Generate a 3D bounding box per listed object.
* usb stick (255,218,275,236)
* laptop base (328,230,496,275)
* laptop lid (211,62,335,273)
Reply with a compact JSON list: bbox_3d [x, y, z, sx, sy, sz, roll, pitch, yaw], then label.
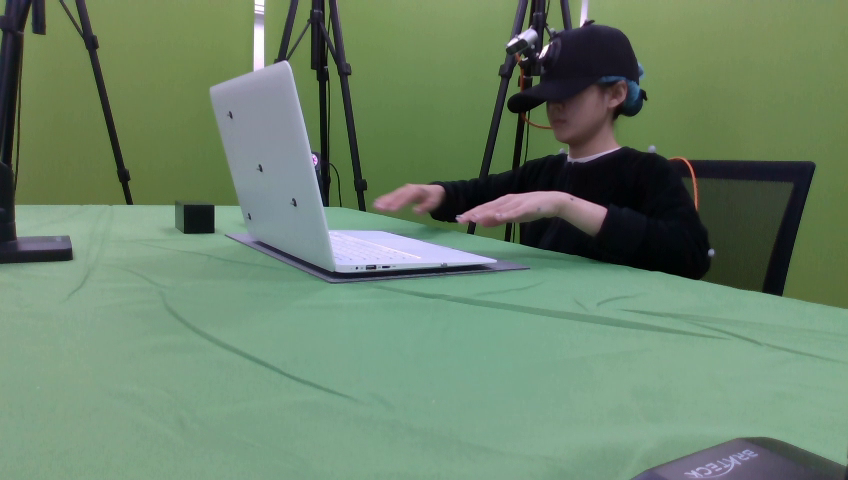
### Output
[{"bbox_3d":[-0.262,-0.021,1.003,0.021,0.027,0.059,0,10,-32],"label":"usb stick"},{"bbox_3d":[-0.091,0.016,0.884,0.237,0.023,0.352,3,6,-32],"label":"laptop base"},{"bbox_3d":[-0.211,-0.095,0.791,0.013,0.241,0.355,-18,18,-29],"label":"laptop lid"}]
